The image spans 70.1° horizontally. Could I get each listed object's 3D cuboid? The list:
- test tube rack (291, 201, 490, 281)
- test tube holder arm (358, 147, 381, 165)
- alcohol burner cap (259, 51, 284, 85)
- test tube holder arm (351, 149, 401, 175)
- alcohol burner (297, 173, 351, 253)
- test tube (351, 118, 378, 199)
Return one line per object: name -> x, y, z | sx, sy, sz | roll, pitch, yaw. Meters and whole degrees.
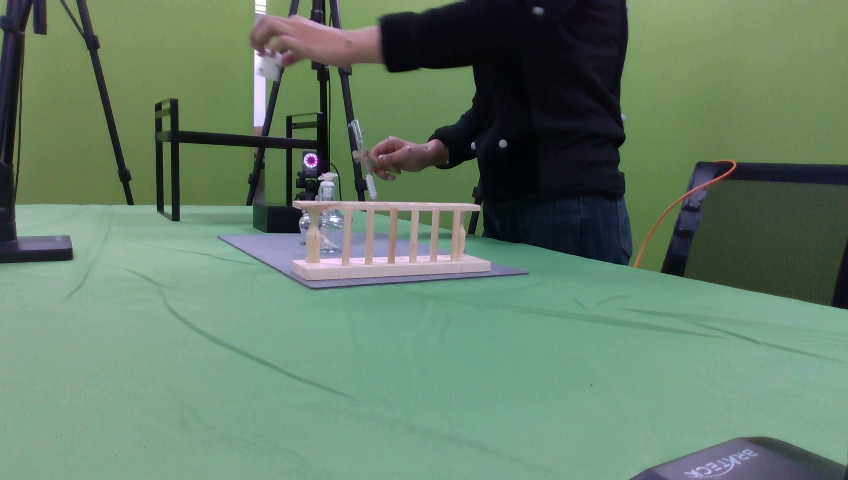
test tube rack -> -0.035, -0.002, 0.745 | 0.243, 0.085, 0.066 | -1, 8, -28
test tube holder arm -> -0.098, -0.151, 1.093 | 0.010, 0.015, 0.088 | -15, -10, 14
alcohol burner cap -> -0.231, -0.264, 0.921 | 0.034, 0.048, 0.034 | 15, 10, -2
test tube holder arm -> -0.087, -0.145, 1.137 | 0.013, 0.015, 0.179 | -16, -10, 21
alcohol burner -> -0.146, -0.040, 0.894 | 0.078, 0.119, 0.078 | 5, 7, 0
test tube -> -0.106, -0.145, 1.072 | 0.017, 0.150, 0.017 | -14, -9, -2
